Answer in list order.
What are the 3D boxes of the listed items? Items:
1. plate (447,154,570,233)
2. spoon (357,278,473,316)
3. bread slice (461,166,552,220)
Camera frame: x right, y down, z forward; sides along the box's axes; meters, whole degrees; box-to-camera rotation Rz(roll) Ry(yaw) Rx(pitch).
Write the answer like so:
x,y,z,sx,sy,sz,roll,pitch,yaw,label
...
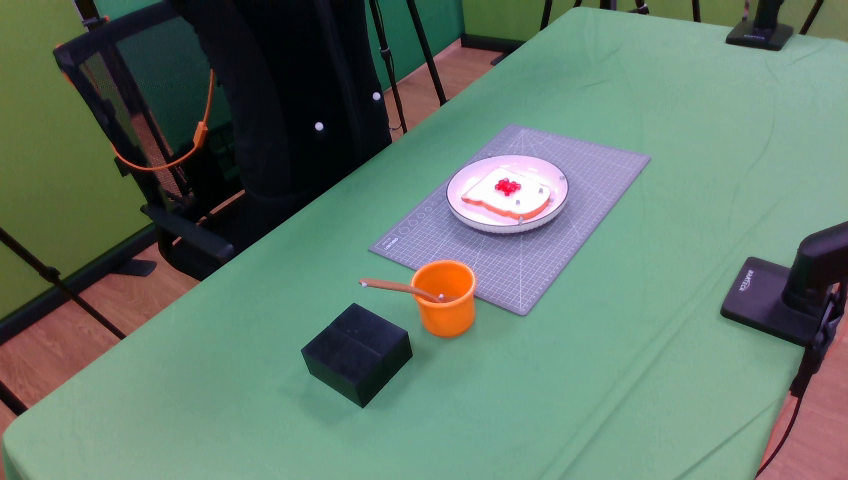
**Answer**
x,y,z,sx,sy,sz,roll,pitch,yaw,label
0.143,-0.076,1.032,0.209,0.038,0.208,-5,40,5,plate
-0.008,0.072,0.804,0.021,0.195,0.041,-54,41,17,spoon
0.149,-0.079,1.036,0.133,0.018,0.107,22,50,31,bread slice
